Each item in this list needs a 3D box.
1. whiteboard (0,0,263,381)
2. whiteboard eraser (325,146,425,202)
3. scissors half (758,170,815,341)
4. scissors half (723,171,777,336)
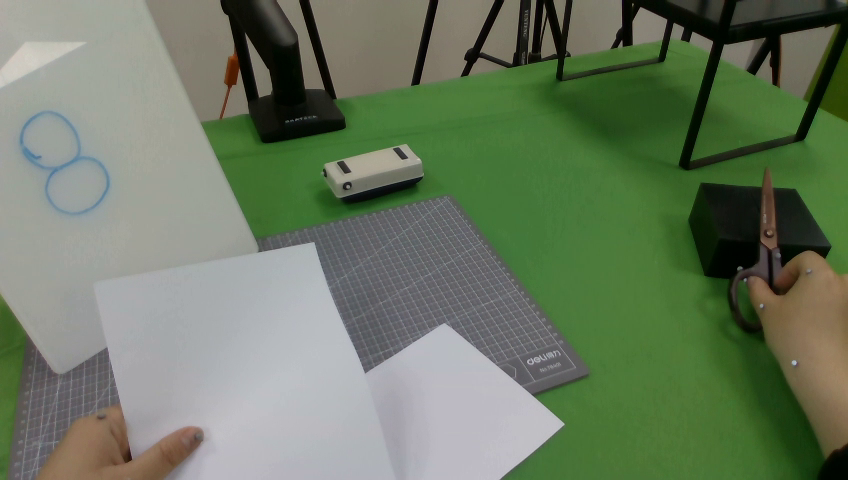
[{"bbox_3d":[-0.330,-0.071,0.562,0.143,0.308,0.217,8,35,44],"label":"whiteboard"},{"bbox_3d":[-0.060,-0.078,0.734,0.113,0.042,0.055,-16,43,-20],"label":"whiteboard eraser"},{"bbox_3d":[0.337,0.010,0.574,0.040,0.013,0.174,-1,67,7],"label":"scissors half"},{"bbox_3d":[0.318,0.008,0.579,0.040,0.013,0.174,15,71,19],"label":"scissors half"}]
